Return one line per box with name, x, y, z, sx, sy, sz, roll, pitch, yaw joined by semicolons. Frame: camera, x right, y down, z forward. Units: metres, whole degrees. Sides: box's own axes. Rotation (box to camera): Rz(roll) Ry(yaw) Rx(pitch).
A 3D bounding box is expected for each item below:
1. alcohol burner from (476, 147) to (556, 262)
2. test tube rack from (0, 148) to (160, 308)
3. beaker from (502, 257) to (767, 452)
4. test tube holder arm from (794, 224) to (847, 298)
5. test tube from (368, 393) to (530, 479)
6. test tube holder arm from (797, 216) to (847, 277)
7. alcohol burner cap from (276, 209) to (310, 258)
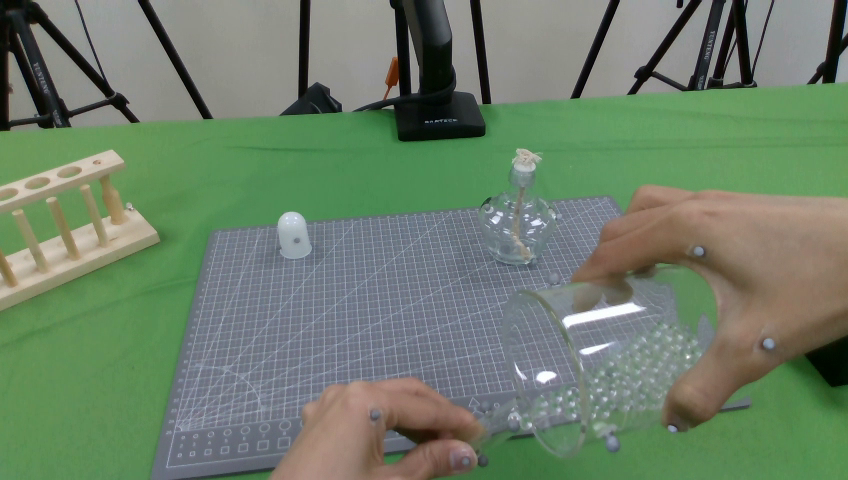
alcohol burner;0.091;-0.038;0.587;0.078;0.120;0.077;1;38;-1
test tube rack;-0.391;0.002;0.571;0.242;0.086;0.066;-29;47;-32
beaker;0.096;0.051;0.284;0.100;0.084;0.073;-10;52;-14
test tube holder arm;0.347;0.040;0.488;0.015;0.013;0.176;1;38;1
test tube;-0.005;0.124;0.328;0.150;0.017;0.017;-38;32;22
test tube holder arm;0.348;0.008;0.520;0.015;0.010;0.087;1;39;1
alcohol burner cap;-0.134;-0.009;0.611;0.034;0.048;0.033;-1;38;1
